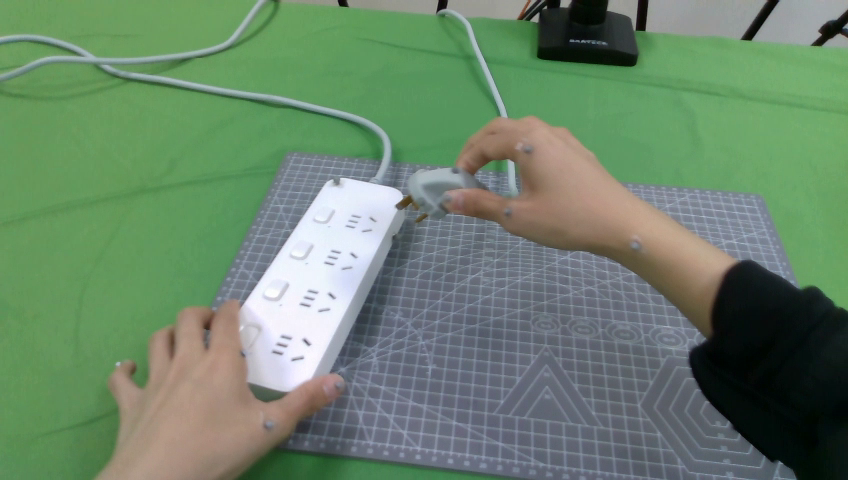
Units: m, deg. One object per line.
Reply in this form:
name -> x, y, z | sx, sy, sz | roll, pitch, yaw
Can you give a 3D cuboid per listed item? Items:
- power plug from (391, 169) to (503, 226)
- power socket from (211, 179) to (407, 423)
power plug -> 0.015, -0.021, 0.420 | 0.073, 0.052, 0.035 | 36, 36, -28
power socket -> -0.076, 0.030, 0.454 | 0.072, 0.033, 0.225 | 14, 45, 11
